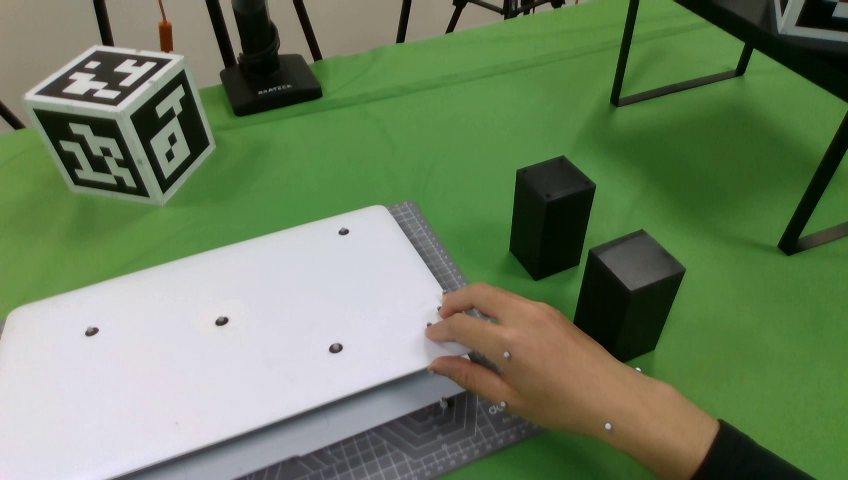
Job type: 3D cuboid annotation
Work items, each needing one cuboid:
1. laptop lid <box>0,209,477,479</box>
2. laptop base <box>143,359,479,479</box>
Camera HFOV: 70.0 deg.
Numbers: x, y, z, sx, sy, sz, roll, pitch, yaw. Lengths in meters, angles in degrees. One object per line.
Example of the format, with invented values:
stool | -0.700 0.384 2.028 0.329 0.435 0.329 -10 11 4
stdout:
laptop lid | -0.161 0.074 0.493 0.357 0.013 0.239 -16 37 -15
laptop base | -0.159 0.100 0.516 0.355 0.023 0.233 -17 49 -16
